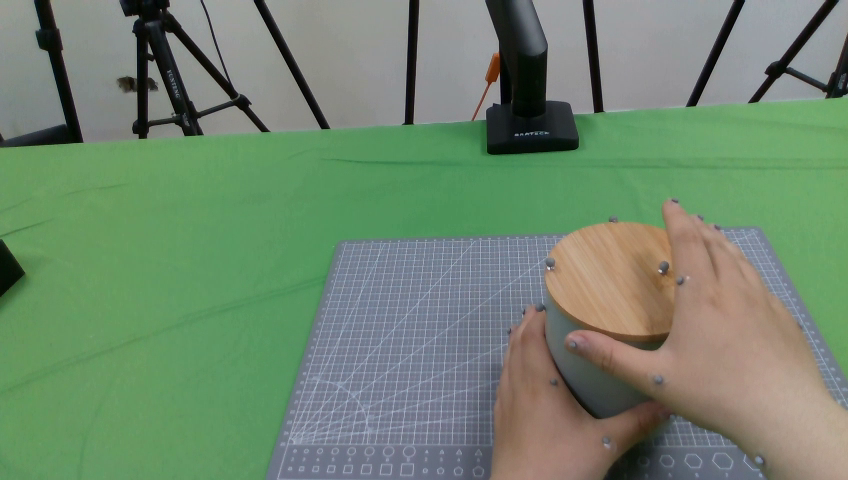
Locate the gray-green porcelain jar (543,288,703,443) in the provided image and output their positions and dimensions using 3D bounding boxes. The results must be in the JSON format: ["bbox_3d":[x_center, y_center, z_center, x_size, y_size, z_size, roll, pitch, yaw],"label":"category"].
[{"bbox_3d":[0.141,0.078,0.446,0.106,0.128,0.105,-5,39,4],"label":"gray-green porcelain jar"}]

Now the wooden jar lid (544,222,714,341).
[{"bbox_3d":[0.135,0.029,0.408,0.108,0.021,0.107,-5,40,5],"label":"wooden jar lid"}]
